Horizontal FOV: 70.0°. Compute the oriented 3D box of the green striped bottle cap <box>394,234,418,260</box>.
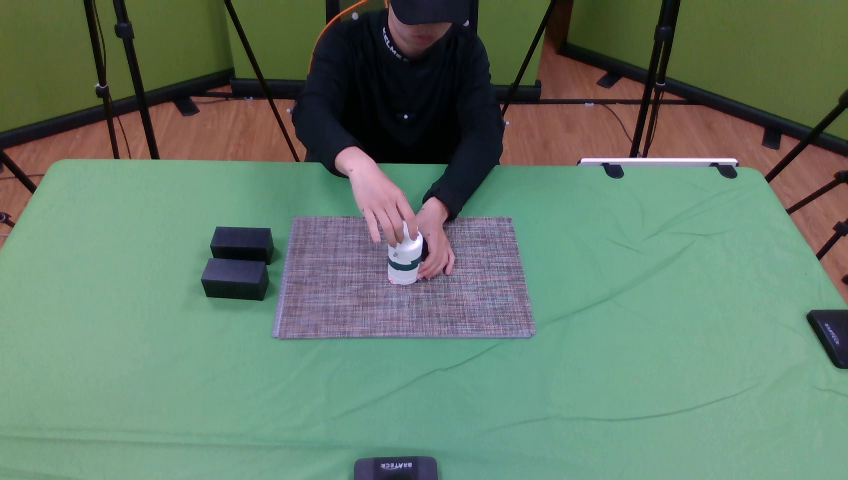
[{"bbox_3d":[-0.030,0.011,1.026,0.020,0.044,0.044,44,54,3],"label":"green striped bottle cap"}]

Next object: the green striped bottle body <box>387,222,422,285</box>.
[{"bbox_3d":[-0.036,0.021,1.102,0.063,0.120,0.063,2,46,-2],"label":"green striped bottle body"}]
